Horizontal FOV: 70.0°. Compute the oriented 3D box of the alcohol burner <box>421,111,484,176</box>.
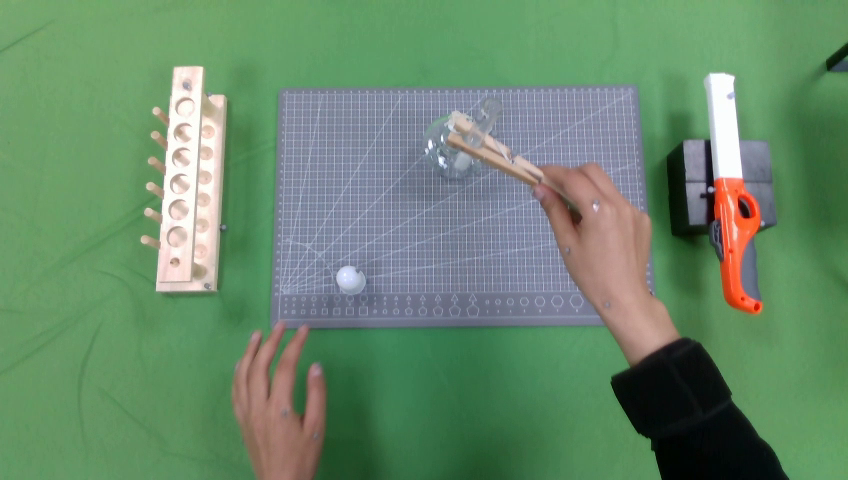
[{"bbox_3d":[0.035,-0.116,0.689,0.078,0.119,0.077,0,79,2],"label":"alcohol burner"}]

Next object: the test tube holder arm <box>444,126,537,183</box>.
[{"bbox_3d":[0.059,-0.073,0.522,0.088,0.015,0.010,25,81,-6],"label":"test tube holder arm"}]

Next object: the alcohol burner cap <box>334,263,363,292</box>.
[{"bbox_3d":[-0.088,0.041,0.693,0.034,0.048,0.033,0,79,-2],"label":"alcohol burner cap"}]

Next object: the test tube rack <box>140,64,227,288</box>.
[{"bbox_3d":[-0.278,-0.070,0.694,0.067,0.085,0.241,0,79,0],"label":"test tube rack"}]

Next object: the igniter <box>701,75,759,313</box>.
[{"bbox_3d":[0.341,-0.056,0.679,0.057,0.025,0.275,2,76,-3],"label":"igniter"}]

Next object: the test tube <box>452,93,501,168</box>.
[{"bbox_3d":[0.042,-0.088,0.515,0.017,0.150,0.017,1,80,-6],"label":"test tube"}]

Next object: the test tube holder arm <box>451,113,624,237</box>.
[{"bbox_3d":[0.100,-0.055,0.527,0.179,0.015,0.013,32,81,-5],"label":"test tube holder arm"}]
